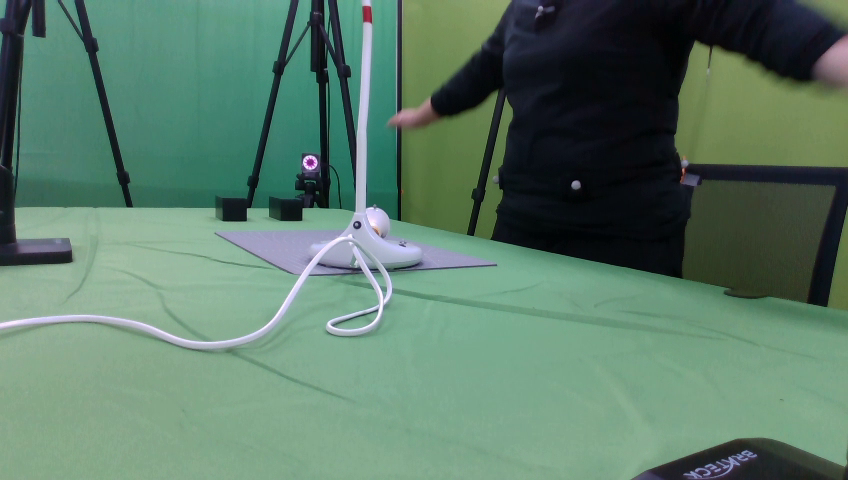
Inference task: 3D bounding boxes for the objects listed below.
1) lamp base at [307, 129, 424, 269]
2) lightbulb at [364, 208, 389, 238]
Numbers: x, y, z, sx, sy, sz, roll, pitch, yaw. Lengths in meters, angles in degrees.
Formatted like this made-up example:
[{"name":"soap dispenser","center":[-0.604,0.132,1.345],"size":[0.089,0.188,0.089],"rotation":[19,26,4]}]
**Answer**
[{"name":"lamp base","center":[-0.077,-0.057,0.811],"size":[0.161,0.180,0.179],"rotation":[2,10,-4]},{"name":"lightbulb","center":[-0.089,-0.017,1.019],"size":[0.059,0.059,0.107],"rotation":[3,23,-2]}]
